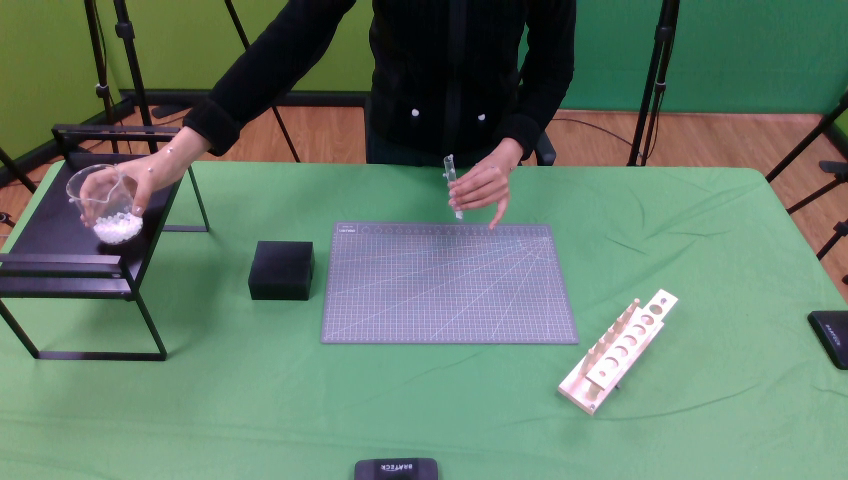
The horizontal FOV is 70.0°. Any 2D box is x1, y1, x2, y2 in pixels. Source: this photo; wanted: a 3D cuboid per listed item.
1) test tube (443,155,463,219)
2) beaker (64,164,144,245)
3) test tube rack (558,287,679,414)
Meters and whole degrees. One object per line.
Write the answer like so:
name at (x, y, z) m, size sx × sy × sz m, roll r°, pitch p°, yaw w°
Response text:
test tube at (0.052, -0.088, 1.048) m, size 0.017 × 0.151 × 0.017 m, roll -6°, pitch 50°, yaw 8°
beaker at (-0.458, -0.047, 0.880) m, size 0.074 × 0.101 × 0.083 m, roll -31°, pitch 54°, yaw -23°
test tube rack at (0.326, 0.170, 1.009) m, size 0.066 × 0.085 × 0.242 m, roll 35°, pitch 54°, yaw 26°
